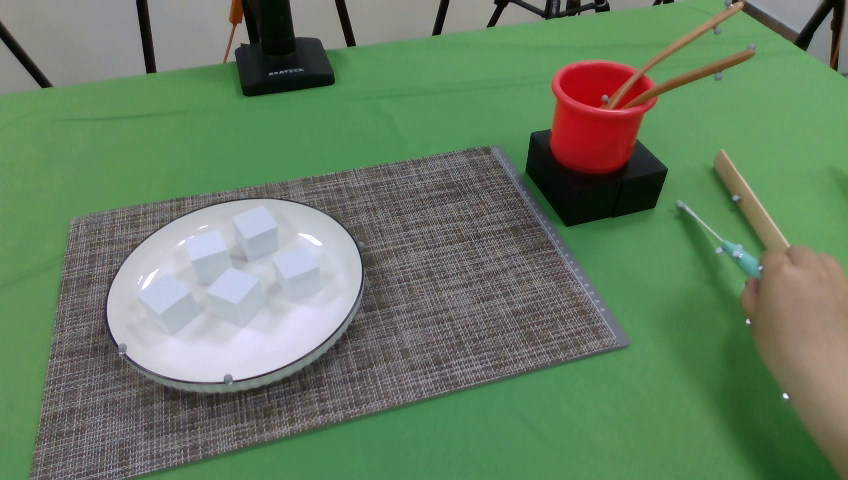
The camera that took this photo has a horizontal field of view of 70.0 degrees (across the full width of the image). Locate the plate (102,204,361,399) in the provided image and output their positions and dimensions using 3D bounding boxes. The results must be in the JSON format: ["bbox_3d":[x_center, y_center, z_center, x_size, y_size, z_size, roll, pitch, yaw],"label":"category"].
[{"bbox_3d":[-0.157,0.049,0.518,0.208,0.039,0.205,1,44,0],"label":"plate"}]

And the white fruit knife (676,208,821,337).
[{"bbox_3d":[0.282,0.017,0.551,0.027,0.016,0.205,35,18,-25],"label":"white fruit knife"}]

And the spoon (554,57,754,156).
[{"bbox_3d":[0.197,-0.117,0.547,0.022,0.193,0.041,54,48,-8],"label":"spoon"}]

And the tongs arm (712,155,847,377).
[{"bbox_3d":[0.348,0.046,0.542,0.028,0.028,0.383,-2,44,-6],"label":"tongs arm"}]

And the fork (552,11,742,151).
[{"bbox_3d":[0.211,-0.150,0.582,0.207,0.019,0.028,-40,21,16],"label":"fork"}]
